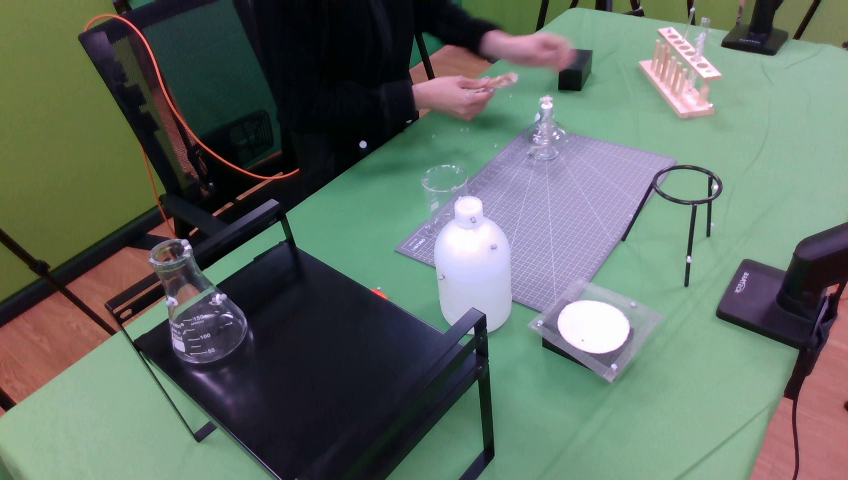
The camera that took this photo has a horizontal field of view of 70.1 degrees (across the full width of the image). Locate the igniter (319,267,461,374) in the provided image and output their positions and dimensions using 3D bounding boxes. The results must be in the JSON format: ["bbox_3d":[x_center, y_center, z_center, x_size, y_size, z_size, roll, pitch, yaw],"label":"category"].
[{"bbox_3d":[-0.060,0.108,0.862,0.274,0.025,0.057,28,62,35],"label":"igniter"}]

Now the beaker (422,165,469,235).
[{"bbox_3d":[0.041,-0.063,0.986,0.073,0.101,0.084,20,47,29],"label":"beaker"}]

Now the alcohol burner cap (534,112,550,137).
[{"bbox_3d":[0.234,-0.231,1.197,0.034,0.048,0.033,-4,40,4],"label":"alcohol burner cap"}]

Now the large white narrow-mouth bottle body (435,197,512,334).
[{"bbox_3d":[0.066,0.028,0.805,0.102,0.195,0.101,-4,40,4],"label":"large white narrow-mouth bottle body"}]

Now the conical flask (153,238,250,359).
[{"bbox_3d":[-0.225,0.055,0.597,0.075,0.122,0.075,-5,41,4],"label":"conical flask"}]

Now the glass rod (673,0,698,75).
[{"bbox_3d":[0.538,-0.425,1.244,0.008,0.200,0.008,0,47,1],"label":"glass rod"}]

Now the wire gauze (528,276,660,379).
[{"bbox_3d":[0.214,0.103,0.763,0.124,0.011,0.122,30,52,35],"label":"wire gauze"}]

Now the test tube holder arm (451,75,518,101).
[{"bbox_3d":[0.108,-0.281,1.125,0.177,0.013,0.015,-2,50,56],"label":"test tube holder arm"}]

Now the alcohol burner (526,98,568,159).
[{"bbox_3d":[0.228,-0.210,1.118,0.078,0.119,0.077,-5,43,5],"label":"alcohol burner"}]

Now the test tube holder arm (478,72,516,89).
[{"bbox_3d":[0.130,-0.285,1.086,0.087,0.010,0.015,-2,50,56],"label":"test tube holder arm"}]

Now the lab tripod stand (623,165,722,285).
[{"bbox_3d":[0.365,-0.030,0.874,0.148,0.132,0.147,-6,41,6],"label":"lab tripod stand"}]

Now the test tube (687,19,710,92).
[{"bbox_3d":[0.540,-0.360,1.193,0.017,0.151,0.017,-4,43,4],"label":"test tube"}]

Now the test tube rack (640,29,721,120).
[{"bbox_3d":[0.527,-0.351,1.262,0.067,0.085,0.241,-8,40,2],"label":"test tube rack"}]

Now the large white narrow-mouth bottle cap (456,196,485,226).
[{"bbox_3d":[0.057,-0.036,0.749,0.038,0.024,0.037,-4,40,4],"label":"large white narrow-mouth bottle cap"}]
